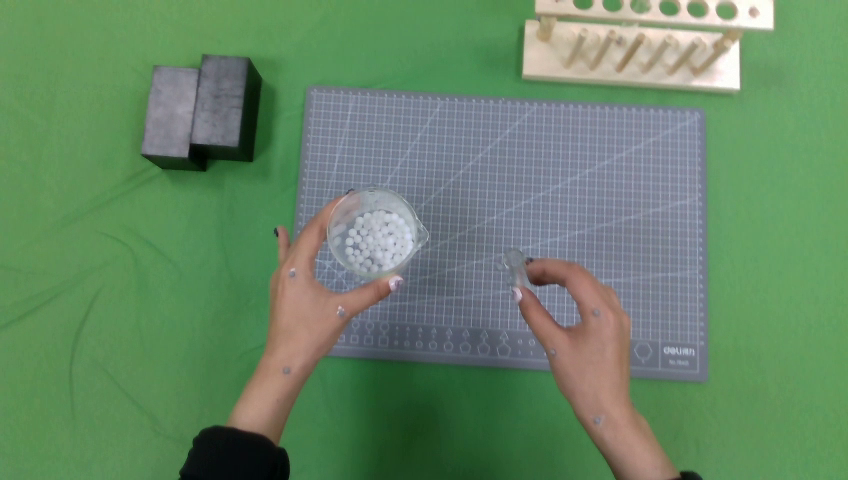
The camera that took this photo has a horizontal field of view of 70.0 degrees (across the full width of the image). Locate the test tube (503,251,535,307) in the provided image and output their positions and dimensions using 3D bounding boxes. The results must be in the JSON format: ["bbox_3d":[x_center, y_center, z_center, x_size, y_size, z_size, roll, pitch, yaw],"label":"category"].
[{"bbox_3d":[0.084,0.037,0.525,0.017,0.151,0.017,-4,72,13],"label":"test tube"}]

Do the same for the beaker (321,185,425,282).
[{"bbox_3d":[-0.042,-0.001,0.534,0.084,0.100,0.074,3,82,-2],"label":"beaker"}]

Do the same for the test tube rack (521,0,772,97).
[{"bbox_3d":[0.234,-0.212,0.658,0.242,0.085,0.066,4,80,1],"label":"test tube rack"}]

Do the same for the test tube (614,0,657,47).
[{"bbox_3d":[0.224,-0.239,0.613,0.017,0.151,0.017,1,77,-2],"label":"test tube"}]
